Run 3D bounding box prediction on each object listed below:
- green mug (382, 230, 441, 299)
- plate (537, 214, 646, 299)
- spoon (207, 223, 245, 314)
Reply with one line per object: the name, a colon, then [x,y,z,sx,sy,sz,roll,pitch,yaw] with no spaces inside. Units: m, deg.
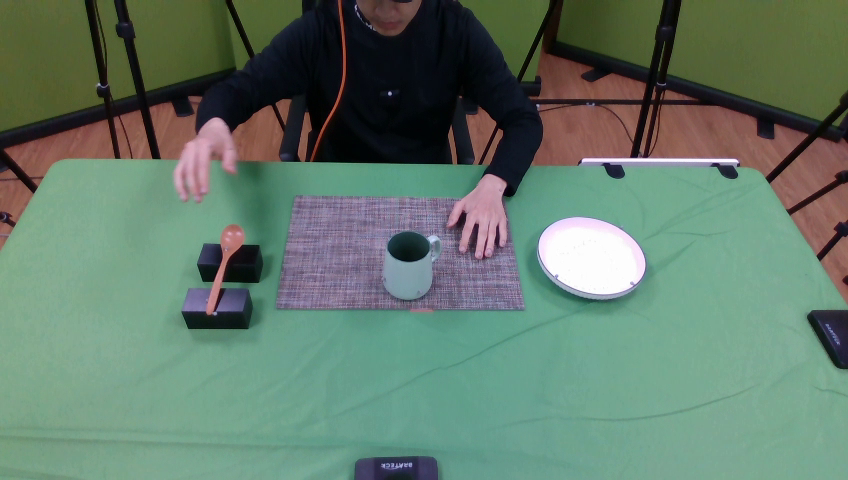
green mug: [-0.017,0.037,1.097,0.125,0.105,0.092,-34,57,-31]
plate: [0.321,0.035,1.176,0.209,0.038,0.208,2,47,-2]
spoon: [-0.350,0.047,1.055,0.042,0.022,0.192,13,46,-12]
